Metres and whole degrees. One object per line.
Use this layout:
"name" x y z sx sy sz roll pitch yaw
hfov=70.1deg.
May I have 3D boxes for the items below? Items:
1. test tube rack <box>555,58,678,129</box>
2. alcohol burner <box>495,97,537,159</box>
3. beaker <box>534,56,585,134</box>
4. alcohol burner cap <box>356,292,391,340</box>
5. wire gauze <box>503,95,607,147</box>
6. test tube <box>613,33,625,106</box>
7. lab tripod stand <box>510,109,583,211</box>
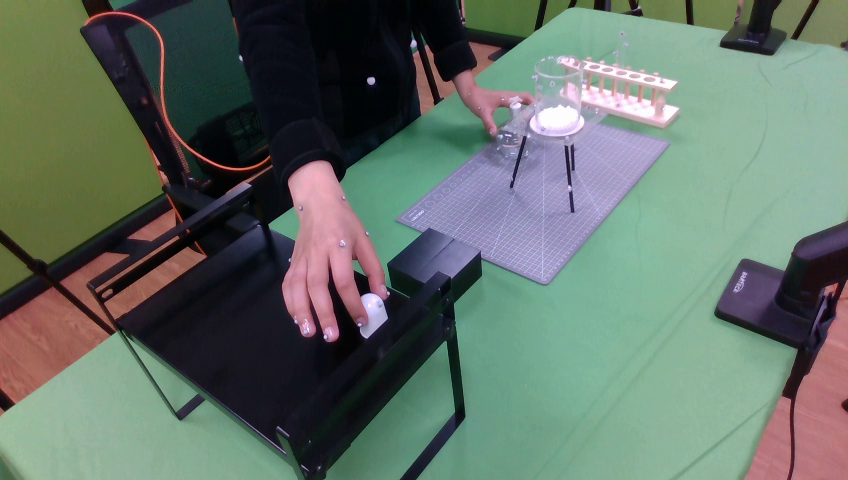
"test tube rack" 0.389 -0.307 1.229 0.240 0.085 0.067 25 51 33
"alcohol burner" 0.171 -0.213 1.125 0.078 0.119 0.077 -5 41 5
"beaker" 0.209 -0.226 0.942 0.074 0.101 0.083 -2 41 7
"alcohol burner cap" -0.051 0.072 0.602 0.034 0.048 0.033 -3 39 3
"wire gauze" 0.211 -0.191 0.976 0.120 0.011 0.125 24 52 32
"test tube" 0.380 -0.330 1.181 0.017 0.151 0.017 -7 41 6
"lab tripod stand" 0.220 -0.138 1.014 0.148 0.132 0.147 -3 41 3
